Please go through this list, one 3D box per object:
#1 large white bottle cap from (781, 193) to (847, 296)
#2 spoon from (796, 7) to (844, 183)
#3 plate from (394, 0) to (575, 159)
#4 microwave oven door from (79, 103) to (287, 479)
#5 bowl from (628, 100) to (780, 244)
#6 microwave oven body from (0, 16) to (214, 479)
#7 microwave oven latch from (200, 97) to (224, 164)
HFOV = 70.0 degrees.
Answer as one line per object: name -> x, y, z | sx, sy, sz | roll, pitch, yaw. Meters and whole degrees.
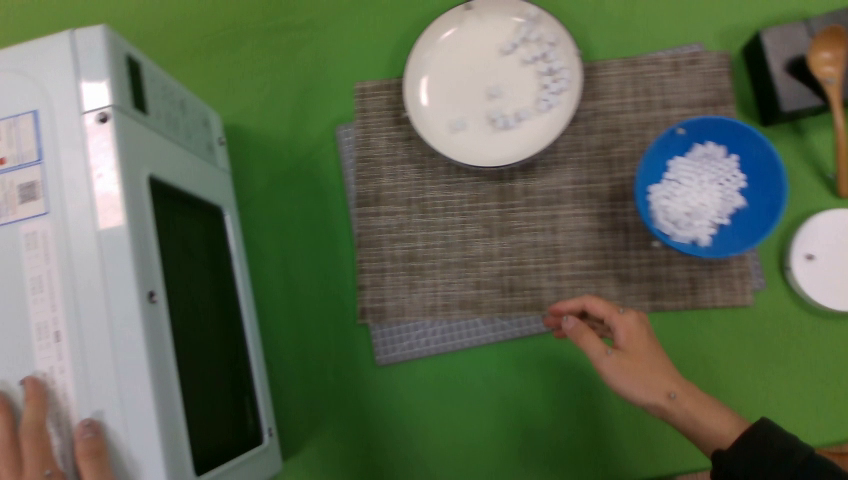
large white bottle cap -> 0.457, 0.005, 0.669 | 0.115, 0.018, 0.114 | 0, 84, 4
spoon -> 0.433, -0.151, 0.651 | 0.041, 0.021, 0.194 | -19, 105, 1
plate -> 0.070, -0.194, 0.715 | 0.209, 0.038, 0.208 | -1, 83, 6
microwave oven door -> -0.227, 0.070, 0.602 | 0.039, 0.244, 0.354 | -15, 83, 4
bowl -> 0.292, -0.066, 0.659 | 0.151, 0.077, 0.151 | -1, 84, 6
microwave oven body -> -0.378, 0.066, 0.623 | 0.326, 0.261, 0.440 | -14, 83, 4
microwave oven latch -> -0.265, -0.129, 0.728 | 0.030, 0.029, 0.079 | -14, 84, 4
